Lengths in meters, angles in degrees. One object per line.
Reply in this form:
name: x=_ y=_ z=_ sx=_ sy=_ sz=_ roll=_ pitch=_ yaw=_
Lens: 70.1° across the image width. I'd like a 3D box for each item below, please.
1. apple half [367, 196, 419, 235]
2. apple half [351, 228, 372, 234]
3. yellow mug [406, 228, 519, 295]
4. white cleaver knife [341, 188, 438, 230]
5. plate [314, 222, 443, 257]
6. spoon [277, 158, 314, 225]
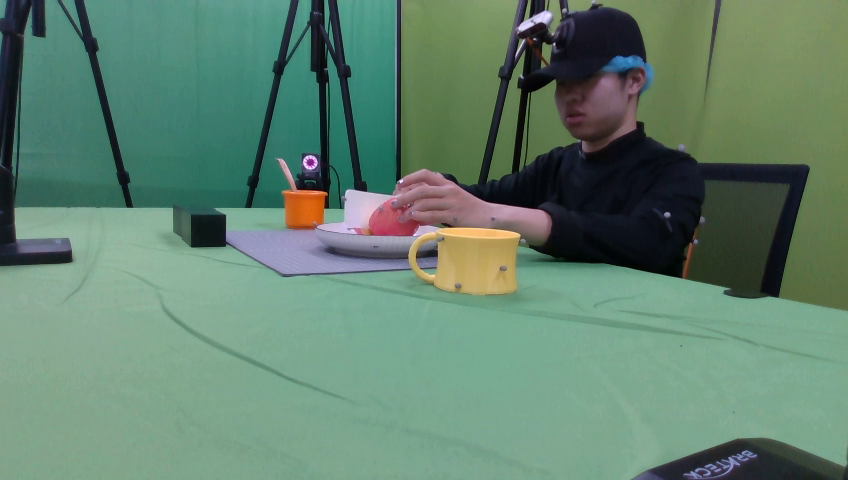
apple half: x=-0.043 y=-0.024 z=0.929 sx=0.074 sy=0.053 sz=0.081 roll=-34 pitch=-21 yaw=8
apple half: x=-0.097 y=-0.024 z=0.956 sx=0.032 sy=0.081 sz=0.081 roll=-20 pitch=-4 yaw=26
yellow mug: x=0.044 y=0.022 z=0.707 sx=0.131 sy=0.064 sz=0.100 roll=2 pitch=7 yaw=5
white cleaver knife: x=-0.053 y=-0.048 z=1.004 sx=0.021 sy=0.066 sz=0.288 roll=0 pitch=2 yaw=30
plate: x=-0.066 y=-0.002 z=0.948 sx=0.209 sy=0.038 sz=0.209 roll=3 pitch=7 yaw=0
spoon: x=-0.272 y=-0.103 z=1.260 sx=0.042 sy=0.193 sz=0.021 roll=-5 pitch=-34 yaw=-33
